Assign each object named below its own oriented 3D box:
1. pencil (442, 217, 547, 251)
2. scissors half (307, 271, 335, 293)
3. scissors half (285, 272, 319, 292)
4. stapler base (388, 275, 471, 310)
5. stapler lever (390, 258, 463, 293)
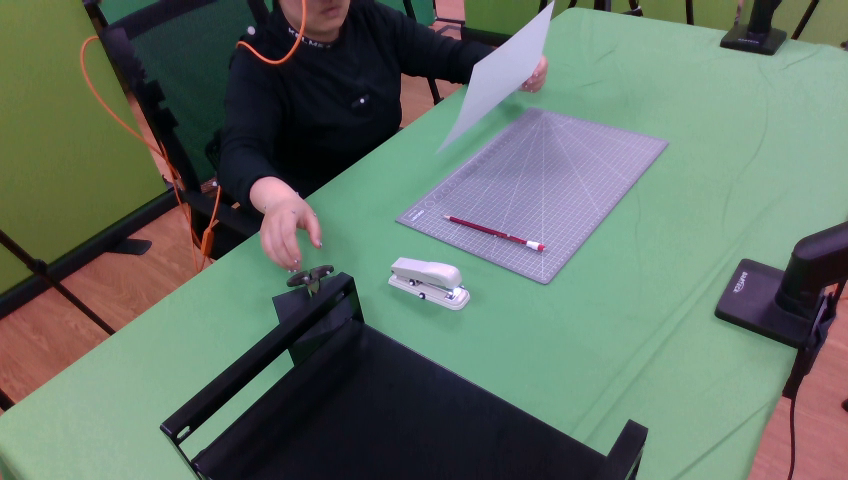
[{"bbox_3d":[0.110,-0.012,0.979,0.192,0.012,0.012,18,46,30],"label":"pencil"},{"bbox_3d":[-0.152,0.061,0.872,0.040,0.013,0.175,-1,5,-4],"label":"scissors half"},{"bbox_3d":[-0.172,0.063,0.868,0.040,0.013,0.174,-9,6,-21],"label":"scissors half"},{"bbox_3d":[0.007,0.066,0.897,0.129,0.024,0.041,17,43,29],"label":"stapler base"},{"bbox_3d":[0.003,0.046,0.881,0.117,0.040,0.027,17,44,29],"label":"stapler lever"}]
